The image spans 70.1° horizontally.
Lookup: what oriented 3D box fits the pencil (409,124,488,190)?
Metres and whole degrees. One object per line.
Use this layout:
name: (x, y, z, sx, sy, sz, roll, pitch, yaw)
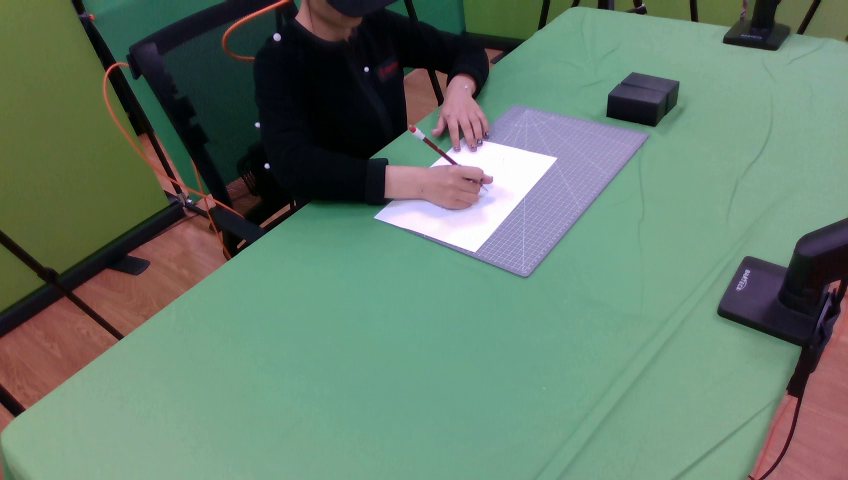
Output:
pencil: (0.045, -0.136, 1.022, 0.012, 0.196, 0.012, -33, 39, 32)
